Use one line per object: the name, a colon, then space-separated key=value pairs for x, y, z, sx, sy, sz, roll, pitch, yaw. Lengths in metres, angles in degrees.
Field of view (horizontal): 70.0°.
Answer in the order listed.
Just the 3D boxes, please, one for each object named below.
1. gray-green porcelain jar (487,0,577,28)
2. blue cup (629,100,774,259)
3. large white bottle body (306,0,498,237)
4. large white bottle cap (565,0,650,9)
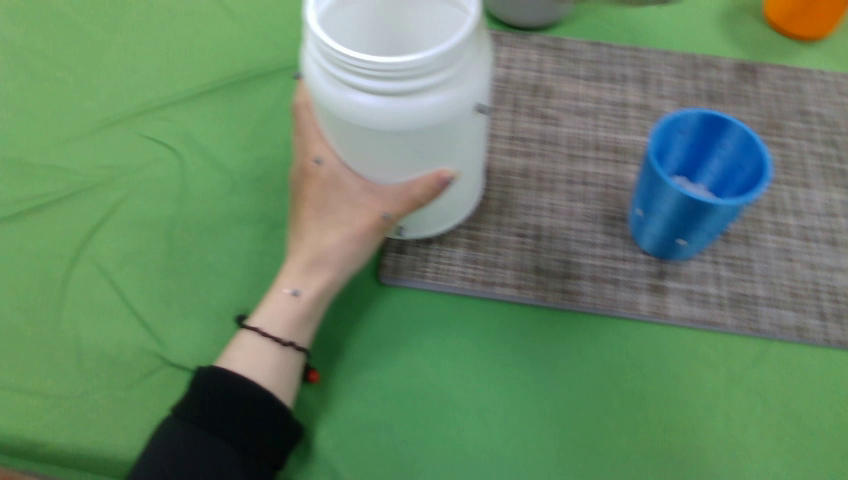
gray-green porcelain jar: x=0.113 y=-0.287 z=0.600 sx=0.106 sy=0.127 sz=0.105 roll=0 pitch=60 yaw=0
blue cup: x=0.201 y=-0.035 z=0.466 sx=0.092 sy=0.101 sz=0.092 roll=0 pitch=58 yaw=1
large white bottle body: x=-0.014 y=-0.101 z=0.449 sx=0.130 sy=0.186 sz=0.129 roll=0 pitch=59 yaw=1
large white bottle cap: x=0.091 y=-0.177 z=0.327 sx=0.115 sy=0.018 sz=0.114 roll=3 pitch=71 yaw=-10
